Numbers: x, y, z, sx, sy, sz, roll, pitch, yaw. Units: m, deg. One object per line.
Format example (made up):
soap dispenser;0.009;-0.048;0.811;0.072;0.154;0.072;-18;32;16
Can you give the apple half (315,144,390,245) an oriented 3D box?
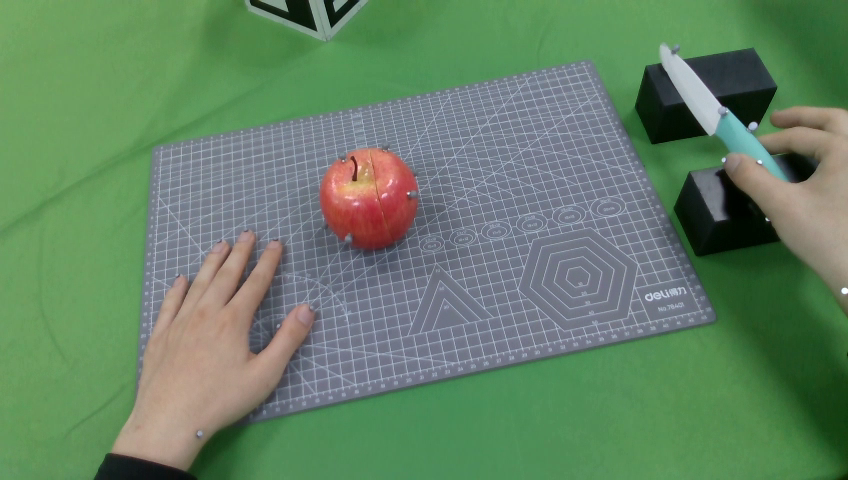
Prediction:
apple half;-0.062;-0.033;0.504;0.053;0.075;0.080;-15;63;2

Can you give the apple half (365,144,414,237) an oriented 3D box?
apple half;-0.024;-0.042;0.504;0.033;0.082;0.080;-15;58;2

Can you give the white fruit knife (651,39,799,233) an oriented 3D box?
white fruit knife;0.235;-0.096;0.488;0.016;0.027;0.205;3;52;-35
